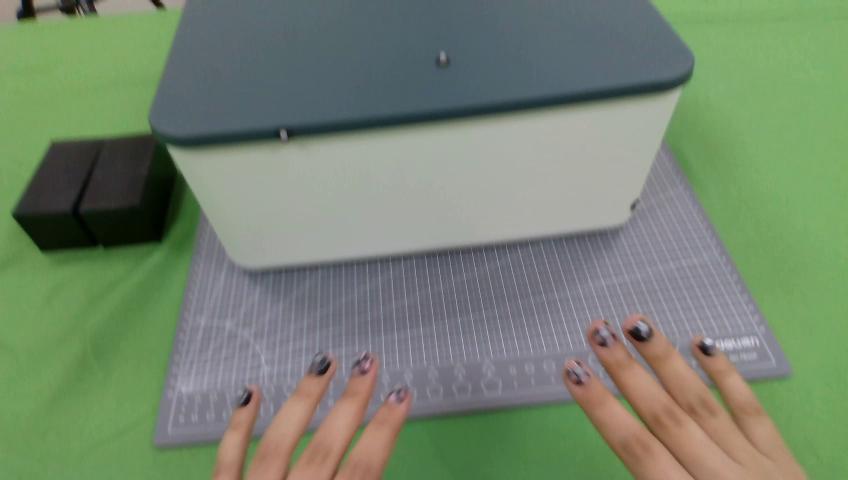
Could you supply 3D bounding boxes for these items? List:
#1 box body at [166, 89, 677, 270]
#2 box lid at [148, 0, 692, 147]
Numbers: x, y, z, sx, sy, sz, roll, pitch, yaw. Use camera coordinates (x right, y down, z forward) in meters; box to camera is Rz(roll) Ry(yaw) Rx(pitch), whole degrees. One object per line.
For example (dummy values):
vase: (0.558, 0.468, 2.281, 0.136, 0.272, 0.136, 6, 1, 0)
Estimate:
box body: (-0.006, -0.126, 0.531, 0.364, 0.162, 0.251, -7, 49, -3)
box lid: (-0.012, -0.175, 0.475, 0.372, 0.015, 0.260, -7, 48, -3)
